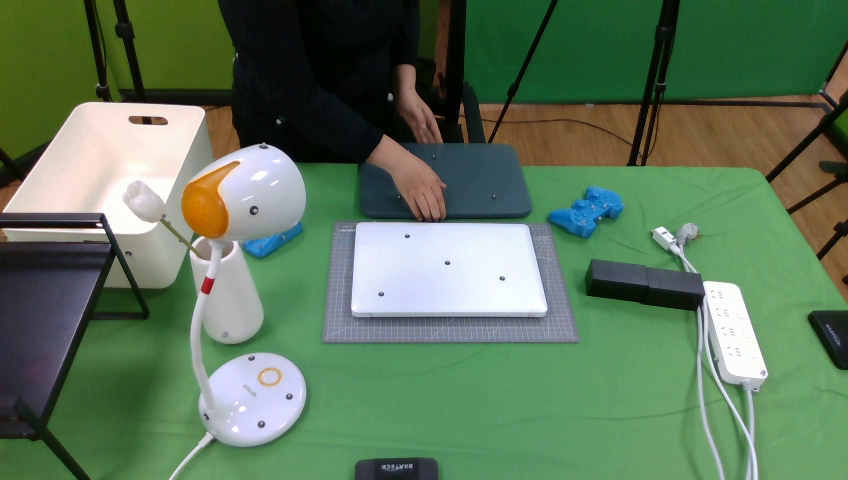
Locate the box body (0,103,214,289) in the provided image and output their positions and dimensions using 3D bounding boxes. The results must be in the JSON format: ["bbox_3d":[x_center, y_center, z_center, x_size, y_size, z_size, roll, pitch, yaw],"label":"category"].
[{"bbox_3d":[-0.563,-0.087,1.139,0.254,0.161,0.361,2,46,-3],"label":"box body"}]

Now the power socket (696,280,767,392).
[{"bbox_3d":[0.543,0.160,1.077,0.072,0.033,0.225,6,46,2],"label":"power socket"}]

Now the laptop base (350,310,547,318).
[{"bbox_3d":[0.041,0.056,1.149,0.355,0.023,0.234,0,42,-4],"label":"laptop base"}]

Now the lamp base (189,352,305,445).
[{"bbox_3d":[-0.268,0.196,0.876,0.160,0.181,0.179,25,52,20],"label":"lamp base"}]

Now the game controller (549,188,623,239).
[{"bbox_3d":[0.345,-0.065,1.272,0.155,0.052,0.096,-31,57,-29],"label":"game controller"}]

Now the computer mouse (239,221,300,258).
[{"bbox_3d":[-0.300,-0.016,1.178,0.062,0.041,0.117,35,57,22],"label":"computer mouse"}]

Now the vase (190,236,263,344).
[{"bbox_3d":[-0.317,0.081,0.971,0.098,0.201,0.097,3,47,-3],"label":"vase"}]

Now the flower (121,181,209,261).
[{"bbox_3d":[-0.329,0.029,0.905,0.038,0.364,0.044,-21,58,-1],"label":"flower"}]

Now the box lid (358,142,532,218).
[{"bbox_3d":[0.041,-0.137,1.340,0.372,0.015,0.261,0,43,-5],"label":"box lid"}]

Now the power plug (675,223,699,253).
[{"bbox_3d":[0.537,0.000,1.243,0.053,0.035,0.072,20,82,-17],"label":"power plug"}]

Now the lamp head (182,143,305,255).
[{"bbox_3d":[-0.216,-0.044,0.697,0.112,0.113,0.123,23,31,17],"label":"lamp head"}]

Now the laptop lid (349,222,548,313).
[{"bbox_3d":[0.042,0.046,1.142,0.357,0.013,0.240,2,44,-3],"label":"laptop lid"}]

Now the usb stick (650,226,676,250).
[{"bbox_3d":[0.485,-0.008,1.238,0.021,0.027,0.059,-22,44,-13],"label":"usb stick"}]
